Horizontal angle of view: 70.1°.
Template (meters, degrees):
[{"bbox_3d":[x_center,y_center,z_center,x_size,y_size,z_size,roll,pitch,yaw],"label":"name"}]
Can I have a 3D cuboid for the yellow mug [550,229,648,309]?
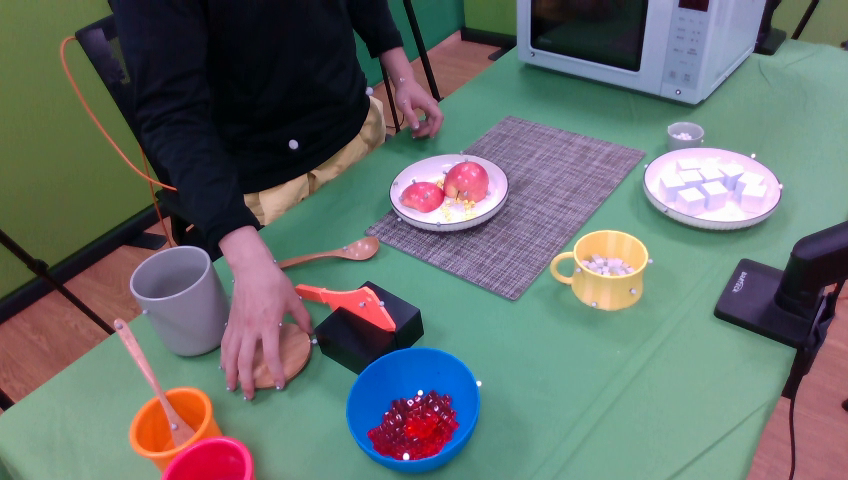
[{"bbox_3d":[0.245,0.040,0.857,0.130,0.064,0.099,1,42,11],"label":"yellow mug"}]

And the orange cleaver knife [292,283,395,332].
[{"bbox_3d":[-0.115,0.092,0.835,0.209,0.077,0.012,1,32,48],"label":"orange cleaver knife"}]

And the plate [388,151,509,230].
[{"bbox_3d":[0.043,-0.082,1.042,0.209,0.038,0.208,-4,40,4],"label":"plate"}]

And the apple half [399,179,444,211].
[{"bbox_3d":[-0.004,-0.088,1.045,0.081,0.033,0.081,-2,43,2],"label":"apple half"}]

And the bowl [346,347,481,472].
[{"bbox_3d":[-0.008,0.205,0.691,0.151,0.077,0.150,-4,40,4],"label":"bowl"}]

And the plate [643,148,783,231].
[{"bbox_3d":[0.464,-0.080,0.986,0.207,0.039,0.206,-4,41,4],"label":"plate"}]

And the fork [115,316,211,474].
[{"bbox_3d":[-0.308,0.179,0.708,0.028,0.018,0.207,-30,89,-23],"label":"fork"}]

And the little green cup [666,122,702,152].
[{"bbox_3d":[0.472,-0.183,1.102,0.061,0.039,0.061,-5,41,5],"label":"little green cup"}]

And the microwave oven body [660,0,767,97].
[{"bbox_3d":[0.473,-0.517,1.314,0.438,0.261,0.327,26,51,34],"label":"microwave oven body"}]

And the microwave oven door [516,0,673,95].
[{"bbox_3d":[0.344,-0.458,1.256,0.353,0.245,0.039,26,51,33],"label":"microwave oven door"}]

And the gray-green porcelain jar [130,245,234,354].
[{"bbox_3d":[-0.328,0.087,0.836,0.106,0.127,0.105,-4,41,4],"label":"gray-green porcelain jar"}]

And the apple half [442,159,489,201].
[{"bbox_3d":[0.074,-0.110,1.047,0.080,0.053,0.075,21,45,30],"label":"apple half"}]

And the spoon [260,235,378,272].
[{"bbox_3d":[-0.168,0.024,0.966,0.194,0.022,0.041,-10,58,-3],"label":"spoon"}]

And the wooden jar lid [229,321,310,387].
[{"bbox_3d":[-0.207,0.156,0.821,0.108,0.021,0.108,-3,40,3],"label":"wooden jar lid"}]

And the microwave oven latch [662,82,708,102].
[{"bbox_3d":[0.517,-0.298,1.203,0.078,0.029,0.030,28,53,35],"label":"microwave oven latch"}]
